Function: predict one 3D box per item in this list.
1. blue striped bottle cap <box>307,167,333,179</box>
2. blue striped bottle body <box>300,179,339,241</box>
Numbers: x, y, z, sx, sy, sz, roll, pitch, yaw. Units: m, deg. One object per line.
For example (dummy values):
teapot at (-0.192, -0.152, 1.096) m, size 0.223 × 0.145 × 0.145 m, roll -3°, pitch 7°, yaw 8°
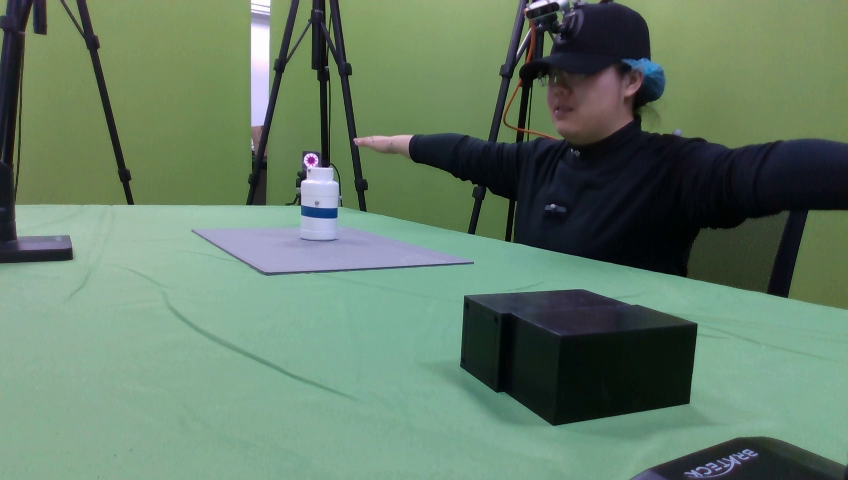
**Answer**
blue striped bottle cap at (-0.174, -0.112, 1.011) m, size 0.044 × 0.020 × 0.044 m, roll 2°, pitch 6°, yaw 0°
blue striped bottle body at (-0.176, -0.062, 1.018) m, size 0.063 × 0.120 × 0.063 m, roll 3°, pitch 7°, yaw 0°
